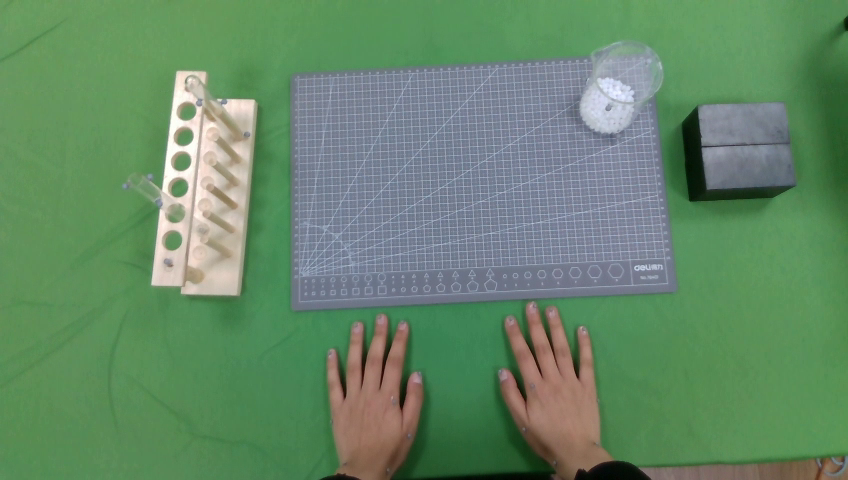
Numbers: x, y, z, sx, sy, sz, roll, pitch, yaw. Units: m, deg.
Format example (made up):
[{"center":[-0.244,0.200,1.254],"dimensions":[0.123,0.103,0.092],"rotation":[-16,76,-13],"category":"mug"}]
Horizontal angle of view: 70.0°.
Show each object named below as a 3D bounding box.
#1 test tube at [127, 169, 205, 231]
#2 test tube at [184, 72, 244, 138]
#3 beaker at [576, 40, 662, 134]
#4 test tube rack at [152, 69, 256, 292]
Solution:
[{"center":[-0.270,-0.038,0.645],"dimensions":[0.017,0.151,0.017],"rotation":[-1,72,4],"category":"test tube"},{"center":[-0.229,-0.146,0.668],"dimensions":[0.017,0.151,0.017],"rotation":[0,79,2],"category":"test tube"},{"center":[0.216,-0.172,0.697],"dimensions":[0.083,0.100,0.074],"rotation":[34,82,9],"category":"beaker"},{"center":[-0.249,-0.065,0.700],"dimensions":[0.067,0.085,0.241],"rotation":[2,80,2],"category":"test tube rack"}]
